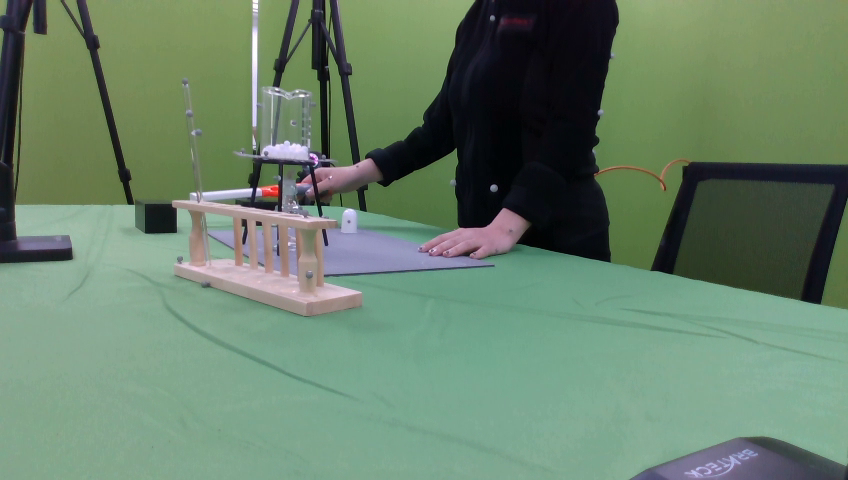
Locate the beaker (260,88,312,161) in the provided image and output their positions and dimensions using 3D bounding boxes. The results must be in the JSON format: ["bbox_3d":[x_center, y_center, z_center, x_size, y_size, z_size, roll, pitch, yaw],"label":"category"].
[{"bbox_3d":[-0.201,-0.166,0.876,0.074,0.100,0.083,1,7,-18],"label":"beaker"}]

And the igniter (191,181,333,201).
[{"bbox_3d":[-0.318,-0.097,1.210,0.278,0.025,0.057,-8,15,-30],"label":"igniter"}]

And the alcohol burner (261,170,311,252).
[{"bbox_3d":[-0.201,-0.043,0.891,0.078,0.119,0.078,1,6,0],"label":"alcohol burner"}]

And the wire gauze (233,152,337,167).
[{"bbox_3d":[-0.205,-0.119,0.887,0.122,0.011,0.124,2,4,-32],"label":"wire gauze"}]

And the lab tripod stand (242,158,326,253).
[{"bbox_3d":[-0.207,-0.054,0.895,0.148,0.131,0.148,2,5,0],"label":"lab tripod stand"}]

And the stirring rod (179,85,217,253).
[{"bbox_3d":[-0.236,-0.073,0.634,0.006,0.176,0.014,0,10,42],"label":"stirring rod"}]

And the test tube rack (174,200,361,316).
[{"bbox_3d":[-0.169,0.009,0.622,0.241,0.085,0.067,9,9,41],"label":"test tube rack"}]

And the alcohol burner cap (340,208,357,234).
[{"bbox_3d":[-0.142,-0.035,1.136,0.034,0.048,0.034,2,6,0],"label":"alcohol burner cap"}]
